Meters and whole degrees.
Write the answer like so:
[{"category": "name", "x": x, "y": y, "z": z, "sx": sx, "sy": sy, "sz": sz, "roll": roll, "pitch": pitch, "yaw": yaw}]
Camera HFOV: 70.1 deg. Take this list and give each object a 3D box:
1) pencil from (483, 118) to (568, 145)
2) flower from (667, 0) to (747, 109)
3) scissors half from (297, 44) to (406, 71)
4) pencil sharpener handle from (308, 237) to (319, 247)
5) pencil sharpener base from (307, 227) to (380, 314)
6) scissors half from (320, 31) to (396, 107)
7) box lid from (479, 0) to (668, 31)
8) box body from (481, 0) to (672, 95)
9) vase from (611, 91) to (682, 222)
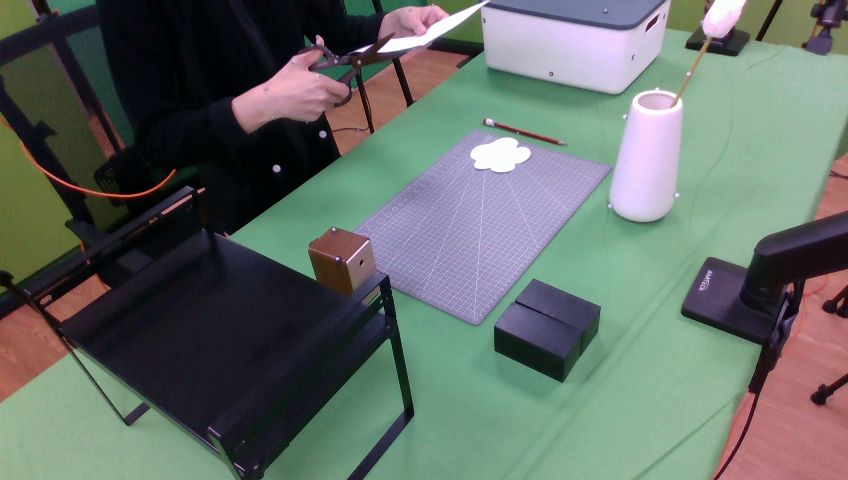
[{"category": "pencil", "x": 0.201, "y": -0.217, "z": 1.212, "sx": 0.192, "sy": 0.012, "sz": 0.012, "roll": 24, "pitch": 49, "yaw": 29}, {"category": "flower", "x": 0.354, "y": -0.187, "z": 0.879, "sx": 0.038, "sy": 0.362, "sz": 0.044, "roll": 30, "pitch": 48, "yaw": 14}, {"category": "scissors half", "x": -0.111, "y": -0.276, "z": 0.903, "sx": 0.174, "sy": 0.040, "sz": 0.013, "roll": 1, "pitch": 41, "yaw": 14}, {"category": "pencil sharpener handle", "x": -0.159, "y": 0.017, "z": 0.892, "sx": 0.030, "sy": 0.068, "sz": 0.036, "roll": 18, "pitch": 60, "yaw": 28}, {"category": "pencil sharpener base", "x": -0.116, "y": 0.043, "z": 0.875, "sx": 0.076, "sy": 0.107, "sz": 0.061, "roll": 18, "pitch": 47, "yaw": 28}, {"category": "scissors half", "x": -0.099, "y": -0.257, "z": 0.914, "sx": 0.174, "sy": 0.040, "sz": 0.013, "roll": -38, "pitch": 20, "yaw": 35}, {"category": "box lid", "x": 0.335, "y": -0.536, "z": 1.331, "sx": 0.368, "sy": 0.015, "sz": 0.264, "roll": 23, "pitch": 49, "yaw": 30}, {"category": "box body", "x": 0.341, "y": -0.480, "z": 1.381, "sx": 0.361, "sy": 0.161, "sz": 0.255, "roll": 22, "pitch": 48, "yaw": 30}, {"category": "vase", "x": 0.348, "y": -0.125, "z": 0.935, "sx": 0.098, "sy": 0.201, "sz": 0.097, "roll": -3, "pitch": 40, "yaw": 3}]
